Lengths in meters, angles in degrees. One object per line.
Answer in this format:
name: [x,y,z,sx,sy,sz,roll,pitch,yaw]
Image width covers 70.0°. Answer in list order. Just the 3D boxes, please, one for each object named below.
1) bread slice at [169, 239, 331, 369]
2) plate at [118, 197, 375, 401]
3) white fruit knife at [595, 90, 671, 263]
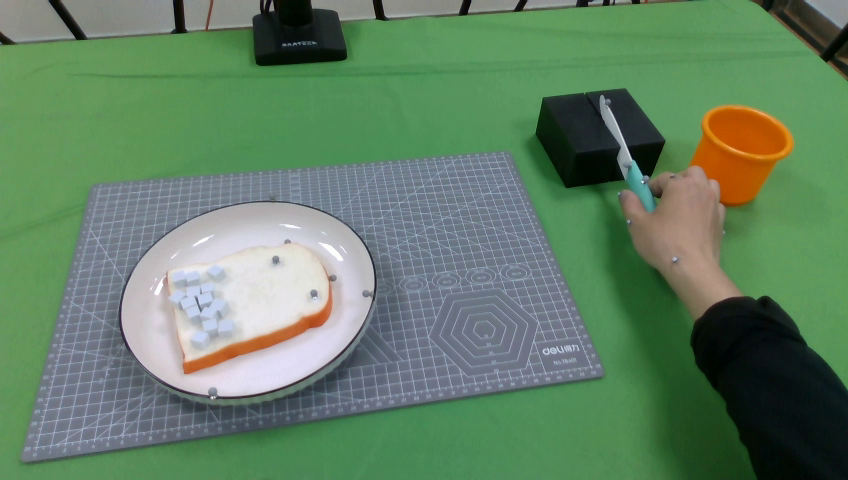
bread slice: [-0.149,0.045,0.524,0.132,0.019,0.103,-18,52,-17]
plate: [-0.145,0.047,0.518,0.209,0.038,0.207,2,48,-2]
white fruit knife: [0.211,-0.074,0.625,0.016,0.027,0.205,-6,63,-15]
